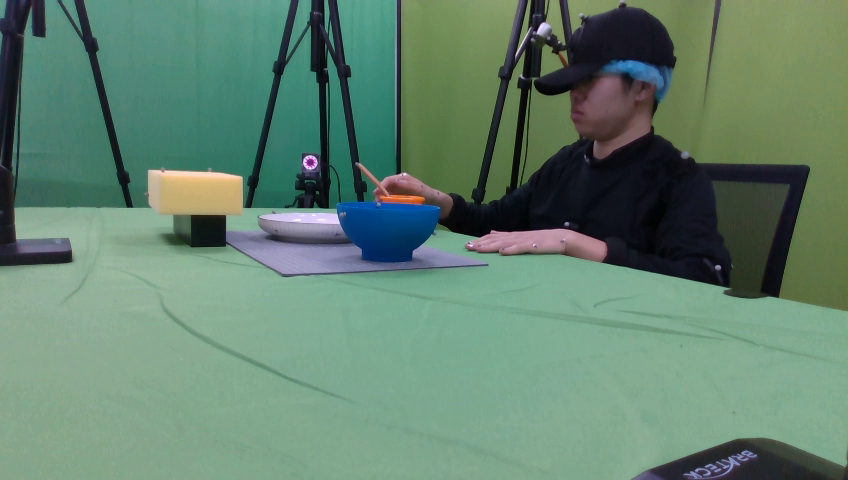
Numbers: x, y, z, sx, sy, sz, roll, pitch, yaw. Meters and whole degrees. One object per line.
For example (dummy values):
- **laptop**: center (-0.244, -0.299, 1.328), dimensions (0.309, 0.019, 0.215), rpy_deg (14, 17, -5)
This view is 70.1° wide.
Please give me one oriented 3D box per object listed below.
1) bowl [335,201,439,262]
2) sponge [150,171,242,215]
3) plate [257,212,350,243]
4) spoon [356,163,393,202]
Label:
- **bowl**: center (-0.054, -0.012, 0.871), dimensions (0.151, 0.077, 0.151), rpy_deg (3, 8, 0)
- **sponge**: center (-0.379, -0.079, 0.994), dimensions (0.119, 0.061, 0.206), rpy_deg (-1, 8, -29)
- **plate**: center (-0.189, -0.023, 1.072), dimensions (0.209, 0.038, 0.209), rpy_deg (3, 7, 0)
- **spoon**: center (-0.079, -0.090, 1.233), dimensions (0.021, 0.193, 0.042), rpy_deg (-44, -16, 26)
